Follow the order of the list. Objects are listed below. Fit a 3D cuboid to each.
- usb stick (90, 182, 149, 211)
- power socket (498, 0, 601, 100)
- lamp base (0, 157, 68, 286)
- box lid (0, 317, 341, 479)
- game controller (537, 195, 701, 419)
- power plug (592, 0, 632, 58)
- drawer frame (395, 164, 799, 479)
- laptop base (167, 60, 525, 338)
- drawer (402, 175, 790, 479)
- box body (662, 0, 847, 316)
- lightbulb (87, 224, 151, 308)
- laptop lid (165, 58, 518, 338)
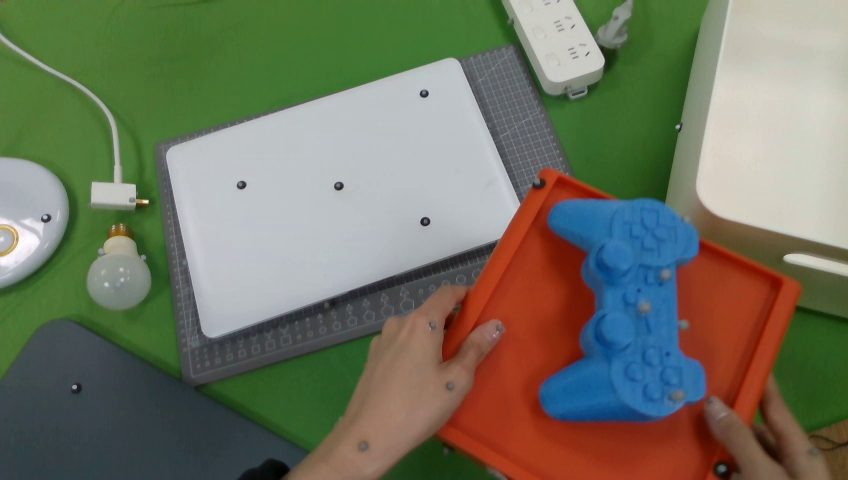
[{"bbox_3d":[-0.338,-0.047,0.674,0.059,0.021,0.027,6,69,-29],"label":"usb stick"},{"bbox_3d":[0.142,-0.268,0.732,0.072,0.033,0.225,-18,67,-4],"label":"power socket"},{"bbox_3d":[-0.497,-0.057,0.615,0.160,0.182,0.178,-44,68,-13],"label":"lamp base"},{"bbox_3d":[-0.290,0.252,0.567,0.370,0.015,0.262,24,72,12],"label":"box lid"},{"bbox_3d":[0.128,0.040,0.394,0.097,0.052,0.154,7,70,1],"label":"game controller"},{"bbox_3d":[0.228,-0.245,0.713,0.072,0.053,0.035,-35,64,-28],"label":"power plug"},{"bbox_3d":[0.120,0.084,0.432,0.201,0.083,0.213,27,72,13],"label":"drawer frame"},{"bbox_3d":[-0.093,-0.055,0.671,0.354,0.023,0.234,-19,71,-4],"label":"laptop base"},{"bbox_3d":[0.120,0.086,0.432,0.193,0.074,0.211,28,72,13],"label":"drawer"},{"bbox_3d":[0.387,-0.123,0.585,0.253,0.161,0.362,15,70,10],"label":"box body"},{"bbox_3d":[-0.322,0.023,0.641,0.059,0.060,0.106,-19,52,-3],"label":"lightbulb"},{"bbox_3d":[-0.093,-0.057,0.659,0.357,0.013,0.240,-18,70,-3],"label":"laptop lid"}]
